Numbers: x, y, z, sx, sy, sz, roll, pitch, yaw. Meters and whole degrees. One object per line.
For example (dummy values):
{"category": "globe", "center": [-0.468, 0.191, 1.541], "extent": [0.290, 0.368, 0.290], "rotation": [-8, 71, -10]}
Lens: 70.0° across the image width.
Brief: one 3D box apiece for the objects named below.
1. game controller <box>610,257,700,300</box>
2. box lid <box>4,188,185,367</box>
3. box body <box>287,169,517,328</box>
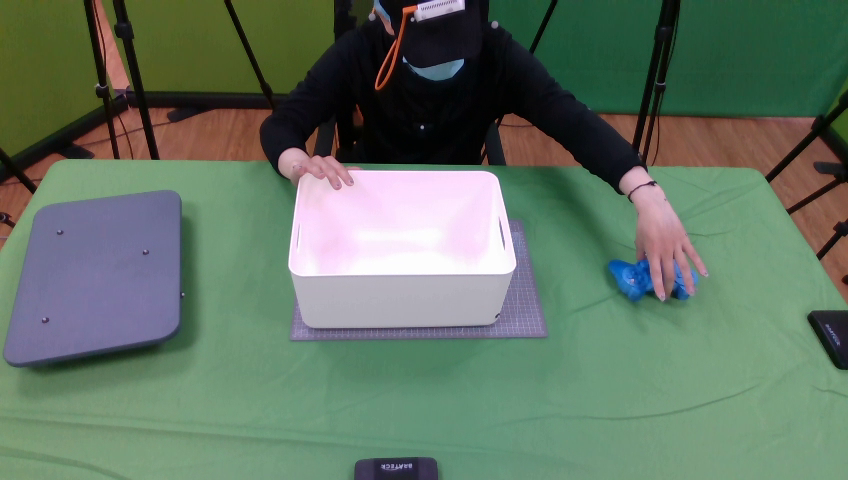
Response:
{"category": "game controller", "center": [0.441, 0.063, 1.144], "extent": [0.155, 0.052, 0.096], "rotation": [-1, 50, -4]}
{"category": "box lid", "center": [-0.558, 0.048, 1.060], "extent": [0.264, 0.015, 0.369], "rotation": [-10, 48, -12]}
{"category": "box body", "center": [-0.040, 0.015, 1.075], "extent": [0.364, 0.161, 0.252], "rotation": [-1, 47, -4]}
